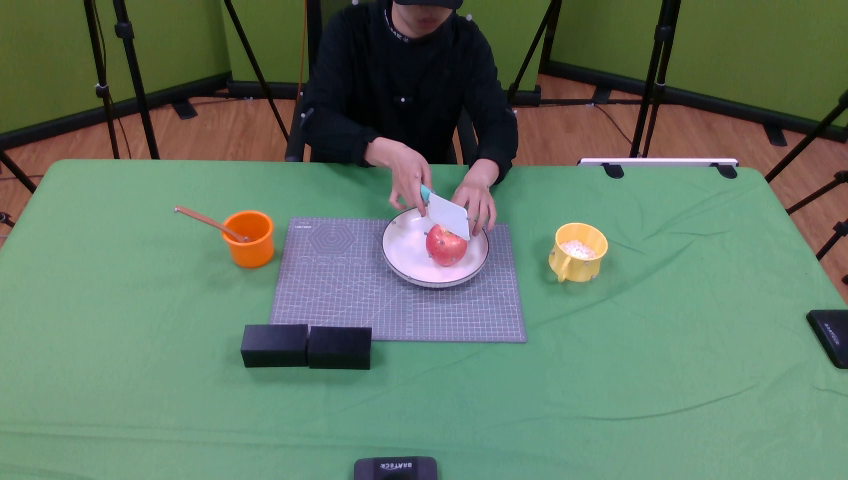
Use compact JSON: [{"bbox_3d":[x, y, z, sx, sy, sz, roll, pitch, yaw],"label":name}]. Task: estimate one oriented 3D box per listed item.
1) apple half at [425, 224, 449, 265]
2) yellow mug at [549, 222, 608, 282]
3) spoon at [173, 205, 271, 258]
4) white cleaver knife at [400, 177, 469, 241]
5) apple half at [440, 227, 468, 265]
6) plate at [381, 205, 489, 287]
[{"bbox_3d":[0.018,0.014,1.133,0.033,0.081,0.080,-11,48,-20],"label":"apple half"},{"bbox_3d":[0.287,0.031,1.159,0.099,0.064,0.130,27,51,21],"label":"yellow mug"},{"bbox_3d":[-0.362,-0.017,1.098,0.021,0.195,0.041,-32,42,27],"label":"spoon"},{"bbox_3d":[0.014,-0.063,1.136,0.021,0.066,0.285,-8,21,-22],"label":"white cleaver knife"},{"bbox_3d":[0.055,0.005,1.145,0.053,0.075,0.080,-10,43,-19],"label":"apple half"},{"bbox_3d":[0.021,0.015,1.170,0.209,0.038,0.208,2,46,-2],"label":"plate"}]
